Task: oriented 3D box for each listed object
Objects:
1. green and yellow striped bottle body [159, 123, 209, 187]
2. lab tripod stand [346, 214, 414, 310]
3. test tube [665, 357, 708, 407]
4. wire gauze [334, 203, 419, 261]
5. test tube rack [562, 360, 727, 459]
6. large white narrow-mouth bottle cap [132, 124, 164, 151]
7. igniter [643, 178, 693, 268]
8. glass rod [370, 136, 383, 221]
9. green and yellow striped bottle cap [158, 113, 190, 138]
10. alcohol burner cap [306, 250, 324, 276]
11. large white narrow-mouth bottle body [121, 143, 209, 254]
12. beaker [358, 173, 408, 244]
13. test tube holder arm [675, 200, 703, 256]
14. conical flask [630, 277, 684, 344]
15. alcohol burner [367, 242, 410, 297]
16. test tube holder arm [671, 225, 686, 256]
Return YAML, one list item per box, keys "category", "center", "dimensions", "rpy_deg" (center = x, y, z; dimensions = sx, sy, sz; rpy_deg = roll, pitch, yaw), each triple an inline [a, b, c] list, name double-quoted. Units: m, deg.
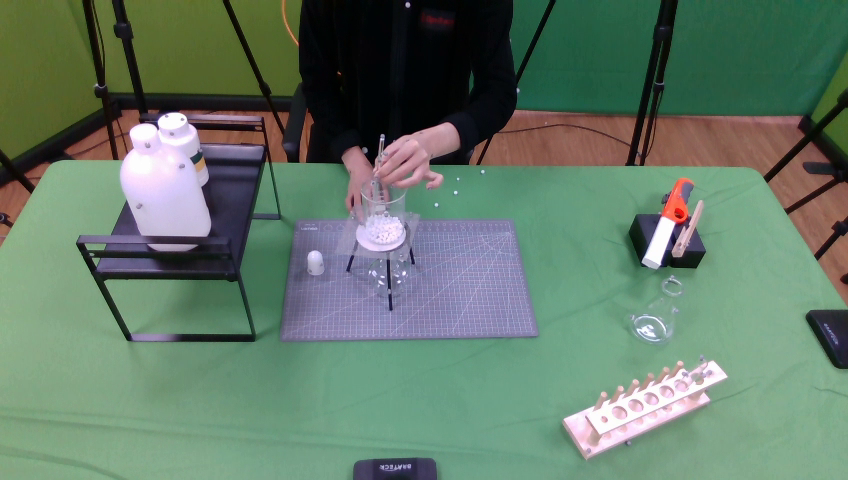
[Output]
- category: "green and yellow striped bottle body"
  center: [-0.395, -0.145, 0.989]
  dimensions: [0.063, 0.120, 0.063]
  rpy_deg: [2, 46, -2]
- category: "lab tripod stand"
  center: [-0.075, 0.030, 1.082]
  dimensions: [0.148, 0.132, 0.147]
  rpy_deg: [1, 47, -1]
- category: "test tube"
  center: [0.386, 0.215, 0.905]
  dimensions: [0.017, 0.151, 0.017]
  rpy_deg: [1, 52, -1]
- category: "wire gauze"
  center: [-0.079, -0.013, 1.031]
  dimensions: [0.121, 0.011, 0.124]
  rpy_deg: [8, 48, 7]
- category: "test tube rack"
  center: [0.341, 0.247, 0.940]
  dimensions: [0.243, 0.085, 0.066]
  rpy_deg: [-16, 49, -18]
- category: "large white narrow-mouth bottle cap"
  center: [-0.370, -0.138, 0.812]
  dimensions: [0.038, 0.024, 0.037]
  rpy_deg: [3, 46, -3]
- category: "igniter"
  center: [0.488, -0.042, 1.205]
  dimensions: [0.057, 0.025, 0.276]
  rpy_deg: [30, 51, 11]
- category: "glass rod"
  center: [-0.075, -0.092, 0.957]
  dimensions: [0.008, 0.200, 0.008]
  rpy_deg: [5, 54, -6]
- category: "green and yellow striped bottle cap"
  center: [-0.393, -0.180, 0.951]
  dimensions: [0.045, 0.020, 0.045]
  rpy_deg: [2, 44, -2]
- category: "alcohol burner cap"
  center: [-0.204, 0.040, 1.125]
  dimensions: [0.034, 0.048, 0.033]
  rpy_deg: [2, 46, -2]
- category: "large white narrow-mouth bottle body"
  center: [-0.378, -0.077, 0.875]
  dimensions: [0.102, 0.195, 0.101]
  rpy_deg: [3, 46, -3]
- category: "beaker"
  center: [-0.066, -0.050, 1.001]
  dimensions: [0.084, 0.101, 0.073]
  rpy_deg: [-18, 49, -20]
- category: "test tube holder arm"
  center: [0.523, -0.025, 1.190]
  dimensions: [0.013, 0.015, 0.178]
  rpy_deg: [1, 36, 41]
- category: "conical flask"
  center: [0.408, 0.117, 1.045]
  dimensions: [0.075, 0.122, 0.075]
  rpy_deg: [2, 46, -2]
- category: "alcohol burner"
  center: [-0.064, 0.047, 1.080]
  dimensions: [0.078, 0.120, 0.077]
  rpy_deg: [1, 47, -1]
- category: "test tube holder arm"
  center: [0.494, 0.001, 1.167]
  dimensions: [0.010, 0.015, 0.087]
  rpy_deg: [1, 36, 42]
